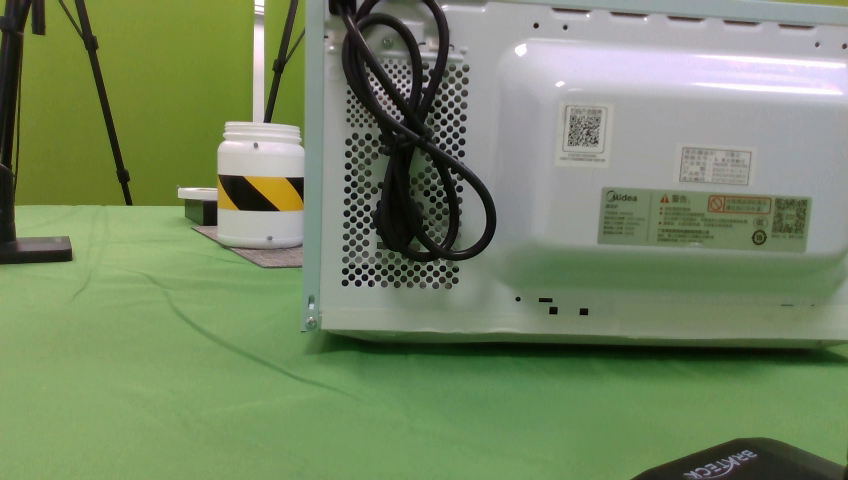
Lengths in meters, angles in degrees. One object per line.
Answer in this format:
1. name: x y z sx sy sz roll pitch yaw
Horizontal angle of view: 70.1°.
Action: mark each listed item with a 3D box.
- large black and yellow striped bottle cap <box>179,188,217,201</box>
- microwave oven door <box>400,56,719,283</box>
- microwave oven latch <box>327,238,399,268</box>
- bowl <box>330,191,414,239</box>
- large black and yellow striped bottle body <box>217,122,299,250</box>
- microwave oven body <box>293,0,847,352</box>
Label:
1. large black and yellow striped bottle cap: -0.434 -0.093 1.226 0.115 0.019 0.115 3 9 0
2. microwave oven door: 0.155 -0.077 0.698 0.356 0.243 0.039 2 8 -5
3. microwave oven latch: -0.069 0.015 0.694 0.079 0.029 0.030 3 7 -3
4. bowl: -0.095 -0.044 1.096 0.151 0.077 0.151 3 8 0
5. large black and yellow striped bottle body: -0.250 -0.084 0.931 0.131 0.184 0.130 2 7 0
6. microwave oven body: 0.122 -0.055 0.550 0.442 0.260 0.325 3 7 -5
